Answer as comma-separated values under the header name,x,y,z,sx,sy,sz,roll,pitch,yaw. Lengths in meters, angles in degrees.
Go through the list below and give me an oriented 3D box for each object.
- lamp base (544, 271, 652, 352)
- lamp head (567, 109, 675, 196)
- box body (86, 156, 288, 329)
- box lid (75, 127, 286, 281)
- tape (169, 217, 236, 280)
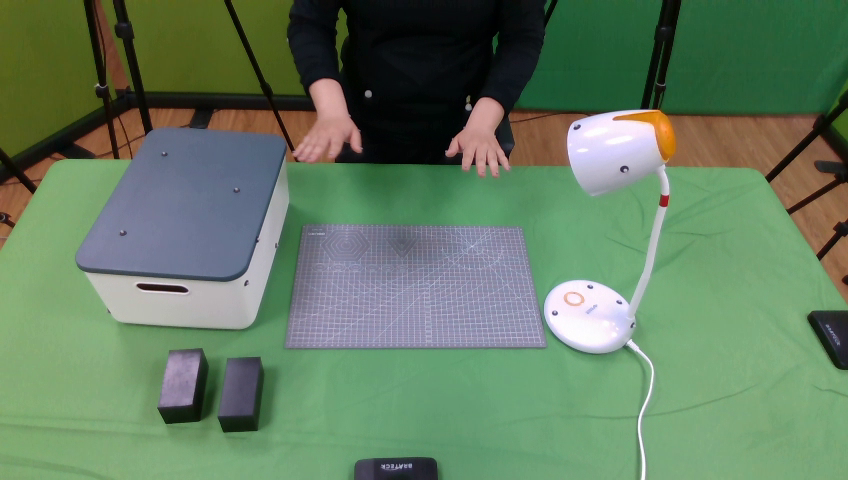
name,x,y,z,sx,sy,sz,roll,pitch,yaw
lamp base,0.309,0.086,1.029,0.178,0.181,0.160,32,52,21
lamp head,0.272,-0.123,0.817,0.122,0.113,0.112,-9,35,37
box body,-0.401,-0.025,1.094,0.254,0.161,0.362,3,46,-1
box lid,-0.398,-0.075,1.039,0.263,0.015,0.369,4,45,-1
tape,-0.409,0.015,1.122,0.117,0.053,0.116,2,46,-2
